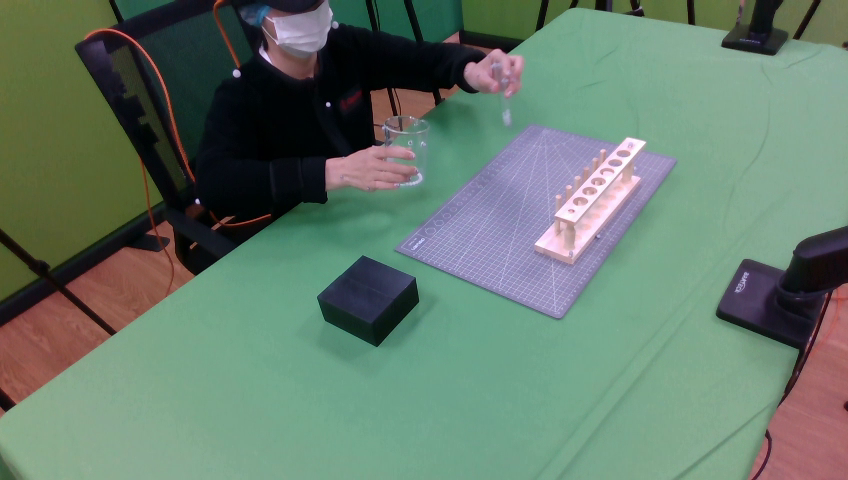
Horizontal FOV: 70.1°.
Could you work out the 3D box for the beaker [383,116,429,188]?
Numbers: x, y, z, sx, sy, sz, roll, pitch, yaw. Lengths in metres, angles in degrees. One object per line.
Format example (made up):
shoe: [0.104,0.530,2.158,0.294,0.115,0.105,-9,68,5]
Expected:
beaker: [-0.029,-0.143,0.987,0.073,0.100,0.084,16,34,18]

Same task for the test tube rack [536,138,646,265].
test tube rack: [0.268,-0.071,0.964,0.066,0.085,0.243,23,49,32]

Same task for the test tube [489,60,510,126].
test tube: [0.129,-0.242,1.015,0.017,0.151,0.017,-7,60,12]
